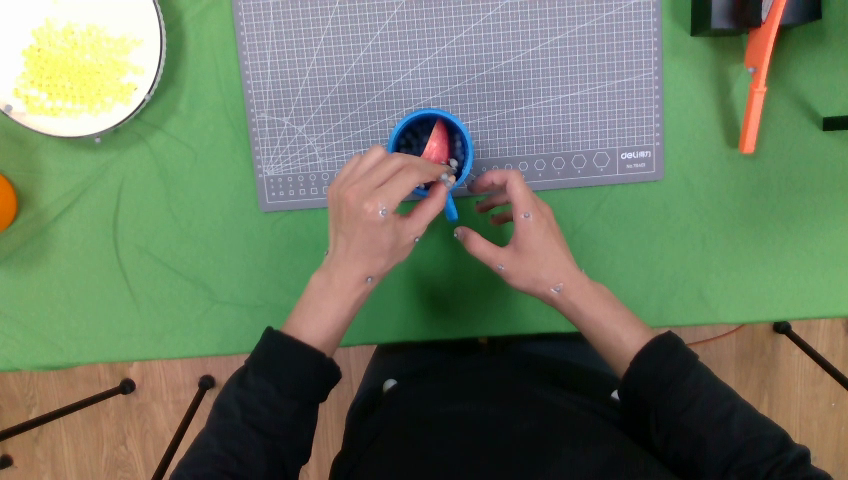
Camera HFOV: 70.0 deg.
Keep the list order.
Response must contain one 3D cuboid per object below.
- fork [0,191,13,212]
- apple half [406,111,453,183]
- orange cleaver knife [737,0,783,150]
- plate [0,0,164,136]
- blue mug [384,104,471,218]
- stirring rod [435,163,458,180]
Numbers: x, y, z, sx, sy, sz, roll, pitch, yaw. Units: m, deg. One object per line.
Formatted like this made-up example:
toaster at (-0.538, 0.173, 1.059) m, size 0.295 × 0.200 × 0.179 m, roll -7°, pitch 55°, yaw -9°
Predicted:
fork at (-0.533, -0.049, 0.601) m, size 0.209 × 0.018 × 0.028 m, roll 5°, pitch 101°, yaw -45°
apple half at (0.013, -0.089, 0.607) m, size 0.033 × 0.081 × 0.081 m, roll 25°, pitch 99°, yaw 6°
orange cleaver knife at (0.338, -0.196, 0.613) m, size 0.012 × 0.076 × 0.213 m, roll -1°, pitch 126°, yaw 9°
plate at (-0.370, -0.214, 0.629) m, size 0.209 × 0.038 × 0.209 m, roll 0°, pitch 100°, yaw 0°
blue mug at (0.010, -0.078, 0.618) m, size 0.082 × 0.105 × 0.117 m, roll -19°, pitch 99°, yaw 3°
stirring rod at (0.022, -0.065, 0.560) m, size 0.014 × 0.176 × 0.006 m, roll -34°, pitch 94°, yaw 9°
